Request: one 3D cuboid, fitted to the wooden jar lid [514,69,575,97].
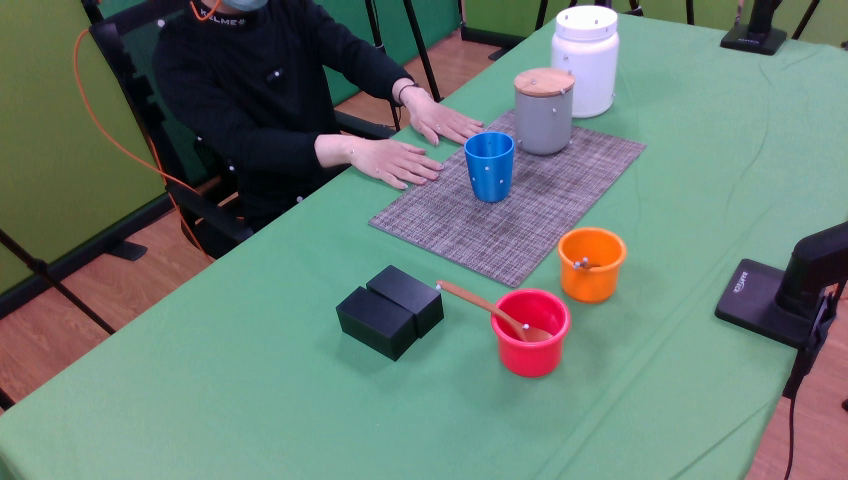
[{"bbox_3d":[0.216,-0.279,1.088,0.108,0.021,0.108,-3,38,3],"label":"wooden jar lid"}]

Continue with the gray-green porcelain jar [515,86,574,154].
[{"bbox_3d":[0.223,-0.233,1.129,0.106,0.127,0.105,-4,40,4],"label":"gray-green porcelain jar"}]

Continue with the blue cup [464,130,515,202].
[{"bbox_3d":[0.114,-0.122,1.035,0.092,0.100,0.092,-4,40,4],"label":"blue cup"}]

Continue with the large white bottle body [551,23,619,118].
[{"bbox_3d":[0.321,-0.355,1.218,0.130,0.185,0.130,-4,41,4],"label":"large white bottle body"}]

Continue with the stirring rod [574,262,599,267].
[{"bbox_3d":[0.221,0.033,0.817,0.014,0.006,0.177,9,1,22],"label":"stirring rod"}]

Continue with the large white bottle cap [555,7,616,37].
[{"bbox_3d":[0.311,-0.420,1.164,0.115,0.018,0.114,-4,40,4],"label":"large white bottle cap"}]

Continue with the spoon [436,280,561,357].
[{"bbox_3d":[0.096,0.095,0.758,0.195,0.021,0.041,34,42,-20],"label":"spoon"}]
